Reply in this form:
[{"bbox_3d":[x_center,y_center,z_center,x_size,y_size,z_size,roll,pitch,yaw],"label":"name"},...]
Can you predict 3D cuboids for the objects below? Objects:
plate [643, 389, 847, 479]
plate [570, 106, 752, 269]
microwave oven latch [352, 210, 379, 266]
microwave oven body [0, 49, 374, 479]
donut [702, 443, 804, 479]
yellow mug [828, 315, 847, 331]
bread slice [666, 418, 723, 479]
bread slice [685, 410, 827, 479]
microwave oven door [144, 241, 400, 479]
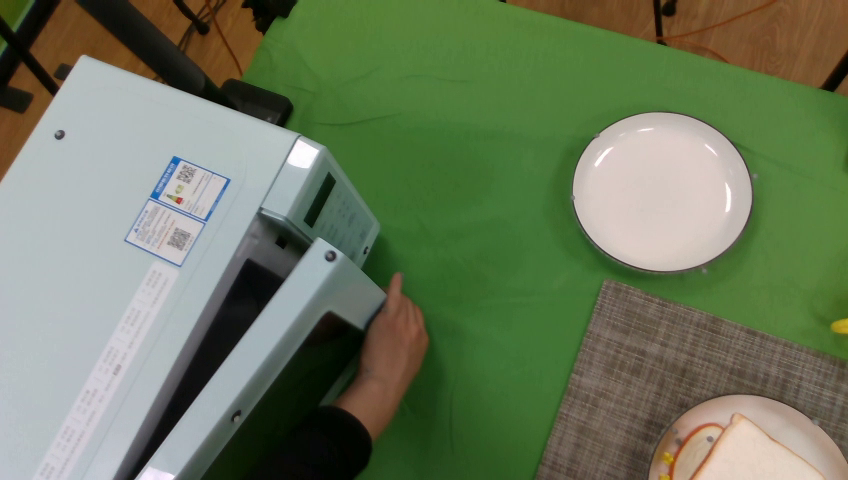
[{"bbox_3d":[0.336,0.262,0.633,0.209,0.038,0.208,-2,73,8],"label":"plate"},{"bbox_3d":[0.284,-0.063,0.741,0.207,0.039,0.206,-2,73,8],"label":"plate"},{"bbox_3d":[-0.084,-0.002,0.761,0.030,0.030,0.079,24,80,15],"label":"microwave oven latch"},{"bbox_3d":[-0.306,0.075,0.671,0.324,0.262,0.440,22,79,14],"label":"microwave oven body"},{"bbox_3d":[0.331,0.255,0.606,0.099,0.048,0.098,-2,72,8],"label":"donut"},{"bbox_3d":[0.506,0.089,0.646,0.130,0.064,0.099,-1,73,10],"label":"yellow mug"},{"bbox_3d":[0.325,0.256,0.638,0.131,0.019,0.104,33,81,15],"label":"bread slice"},{"bbox_3d":[0.326,0.241,0.579,0.134,0.018,0.107,31,87,10],"label":"bread slice"},{"bbox_3d":[-0.164,0.178,0.614,0.039,0.245,0.355,33,81,18],"label":"microwave oven door"}]
